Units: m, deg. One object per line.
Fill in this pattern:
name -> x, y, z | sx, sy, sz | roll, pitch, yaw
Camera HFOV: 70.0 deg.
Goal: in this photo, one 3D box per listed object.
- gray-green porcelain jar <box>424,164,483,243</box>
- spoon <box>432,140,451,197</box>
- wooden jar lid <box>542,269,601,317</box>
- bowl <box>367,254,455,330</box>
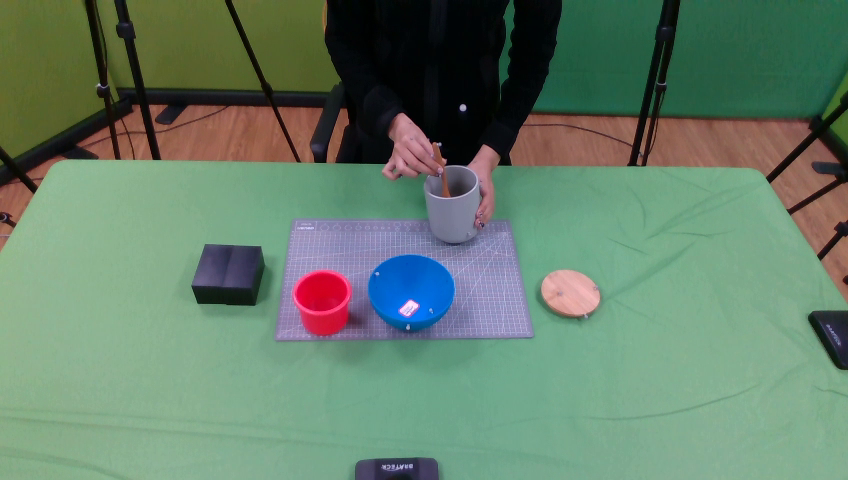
gray-green porcelain jar -> 0.060, -0.066, 1.181 | 0.106, 0.127, 0.105 | -6, 43, 6
spoon -> 0.037, -0.112, 1.137 | 0.041, 0.195, 0.021 | 17, 51, 27
wooden jar lid -> 0.272, 0.100, 1.121 | 0.108, 0.021, 0.107 | 3, 47, -3
bowl -> -0.024, 0.104, 1.053 | 0.151, 0.077, 0.150 | 2, 46, -2
